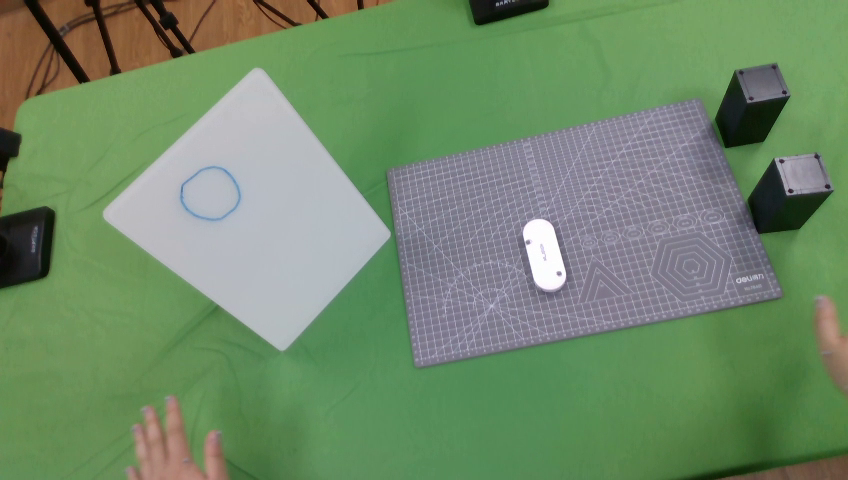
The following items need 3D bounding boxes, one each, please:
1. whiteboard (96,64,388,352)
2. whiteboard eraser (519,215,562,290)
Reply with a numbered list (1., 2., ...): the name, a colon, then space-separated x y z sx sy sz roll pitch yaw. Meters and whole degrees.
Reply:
1. whiteboard: -0.224 -0.044 0.751 0.217 0.309 0.142 -48 47 -11
2. whiteboard eraser: 0.149 0.014 0.779 0.041 0.019 0.100 -12 66 4
